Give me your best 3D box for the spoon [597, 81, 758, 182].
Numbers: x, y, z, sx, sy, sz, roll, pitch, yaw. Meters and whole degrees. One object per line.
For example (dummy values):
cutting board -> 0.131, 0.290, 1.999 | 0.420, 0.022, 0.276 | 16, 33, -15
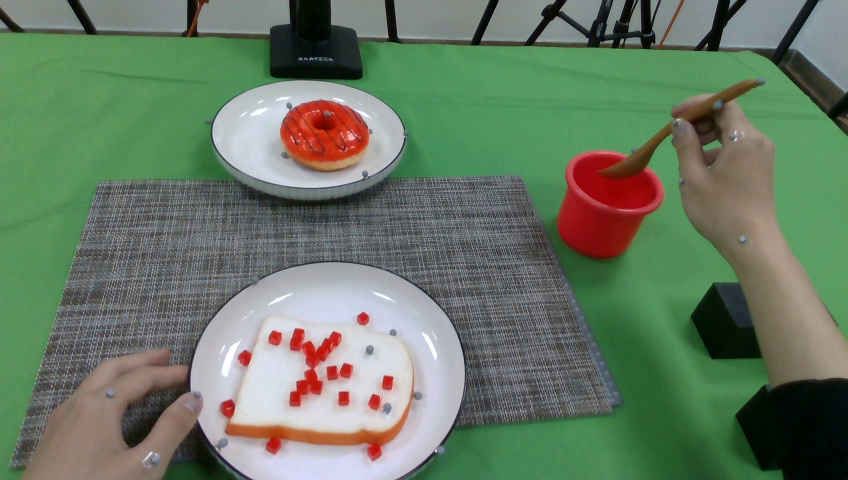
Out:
spoon -> 0.210, -0.088, 0.524 | 0.042, 0.194, 0.021 | -2, 72, -16

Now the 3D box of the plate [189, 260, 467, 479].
plate -> -0.071, 0.104, 0.474 | 0.209, 0.038, 0.207 | 5, 46, -5

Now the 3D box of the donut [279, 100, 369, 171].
donut -> -0.109, -0.115, 0.665 | 0.099, 0.048, 0.098 | 6, 46, -6

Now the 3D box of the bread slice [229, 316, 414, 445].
bread slice -> -0.073, 0.107, 0.473 | 0.131, 0.019, 0.104 | 7, 46, -2

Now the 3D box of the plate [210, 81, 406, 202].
plate -> -0.125, -0.107, 0.672 | 0.208, 0.039, 0.205 | 5, 44, -5
